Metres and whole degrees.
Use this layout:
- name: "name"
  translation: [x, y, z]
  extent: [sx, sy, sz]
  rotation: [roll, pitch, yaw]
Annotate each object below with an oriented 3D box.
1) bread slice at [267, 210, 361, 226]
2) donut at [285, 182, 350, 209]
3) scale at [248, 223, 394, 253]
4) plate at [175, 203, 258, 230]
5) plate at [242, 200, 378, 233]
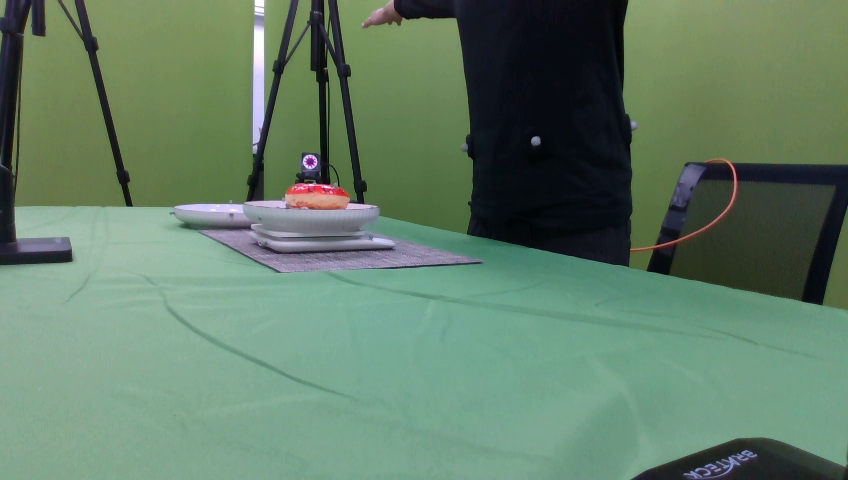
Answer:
- name: "bread slice"
  translation: [-0.174, -0.035, 0.934]
  extent: [0.132, 0.019, 0.104]
  rotation: [0, 6, -28]
- name: "donut"
  translation: [-0.165, -0.065, 0.938]
  extent: [0.099, 0.048, 0.099]
  rotation: [3, 3, 0]
- name: "scale"
  translation: [-0.162, -0.006, 0.954]
  extent: [0.202, 0.031, 0.148]
  rotation: [-2, 8, -32]
- name: "plate"
  translation: [-0.381, -0.047, 1.199]
  extent: [0.208, 0.039, 0.207]
  rotation: [3, 7, 0]
- name: "plate"
  translation: [-0.176, -0.038, 0.939]
  extent: [0.209, 0.038, 0.209]
  rotation: [3, 7, 0]
